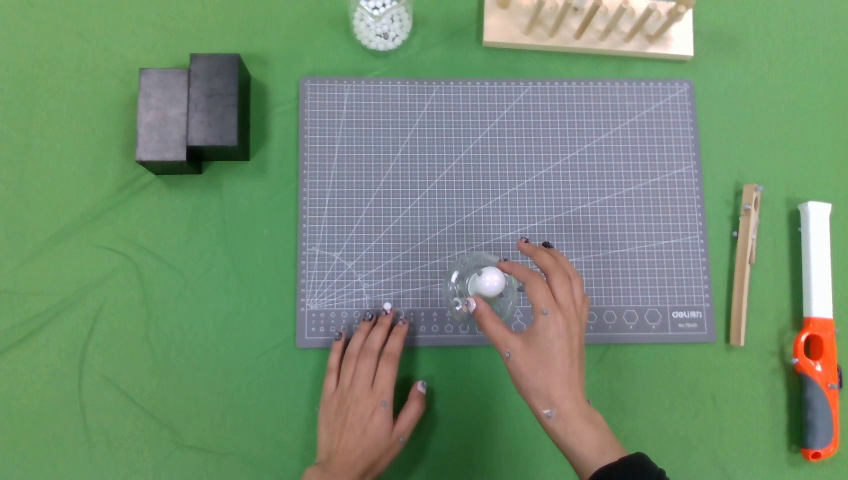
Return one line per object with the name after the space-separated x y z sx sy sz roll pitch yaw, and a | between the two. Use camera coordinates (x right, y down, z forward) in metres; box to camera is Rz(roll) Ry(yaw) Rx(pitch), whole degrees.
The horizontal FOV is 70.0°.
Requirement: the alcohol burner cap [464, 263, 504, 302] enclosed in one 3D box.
0.057 0.038 0.563 0.034 0.048 0.033 2 76 -6 | alcohol burner cap

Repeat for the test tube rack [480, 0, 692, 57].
0.189 -0.259 0.667 0.242 0.085 0.066 3 81 -3 | test tube rack

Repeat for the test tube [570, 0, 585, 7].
0.181 -0.281 0.620 0.017 0.150 0.017 1 83 -6 | test tube

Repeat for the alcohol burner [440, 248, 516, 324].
0.056 0.043 0.598 0.078 0.119 0.077 1 80 -4 | alcohol burner

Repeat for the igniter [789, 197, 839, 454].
0.423 0.089 0.657 0.057 0.025 0.275 6 81 -12 | igniter

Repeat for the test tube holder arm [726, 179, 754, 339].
0.347 0.020 0.667 0.013 0.015 0.178 15 81 -35 | test tube holder arm

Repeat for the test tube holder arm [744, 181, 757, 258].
0.360 -0.022 0.676 0.010 0.015 0.087 17 80 -35 | test tube holder arm

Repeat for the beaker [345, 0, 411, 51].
-0.049 -0.253 0.646 0.074 0.100 0.083 2 81 -2 | beaker
